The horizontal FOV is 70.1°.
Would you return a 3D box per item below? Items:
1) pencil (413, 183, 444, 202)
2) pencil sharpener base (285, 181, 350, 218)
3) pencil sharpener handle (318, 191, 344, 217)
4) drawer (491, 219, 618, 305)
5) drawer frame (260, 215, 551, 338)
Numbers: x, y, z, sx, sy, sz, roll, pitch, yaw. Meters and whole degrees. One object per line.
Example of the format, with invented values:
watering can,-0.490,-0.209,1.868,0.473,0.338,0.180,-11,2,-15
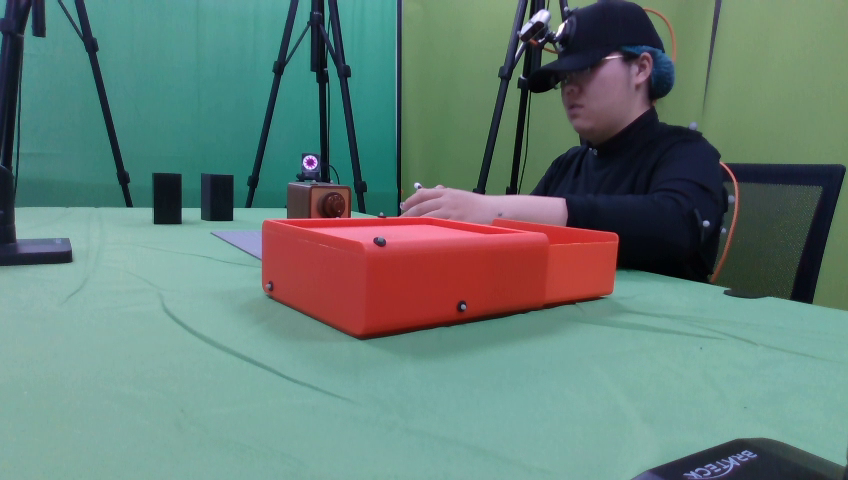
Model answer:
pencil,0.009,-0.090,1.144,0.012,0.012,0.193,1,13,-17
pencil sharpener base,-0.139,-0.021,0.789,0.062,0.107,0.076,-2,9,-36
pencil sharpener handle,-0.107,-0.026,0.748,0.036,0.067,0.030,-6,11,-36
drawer,0.071,0.021,0.670,0.213,0.073,0.193,-3,10,-39
drawer frame,-0.021,0.023,0.595,0.215,0.082,0.200,-4,10,-38
